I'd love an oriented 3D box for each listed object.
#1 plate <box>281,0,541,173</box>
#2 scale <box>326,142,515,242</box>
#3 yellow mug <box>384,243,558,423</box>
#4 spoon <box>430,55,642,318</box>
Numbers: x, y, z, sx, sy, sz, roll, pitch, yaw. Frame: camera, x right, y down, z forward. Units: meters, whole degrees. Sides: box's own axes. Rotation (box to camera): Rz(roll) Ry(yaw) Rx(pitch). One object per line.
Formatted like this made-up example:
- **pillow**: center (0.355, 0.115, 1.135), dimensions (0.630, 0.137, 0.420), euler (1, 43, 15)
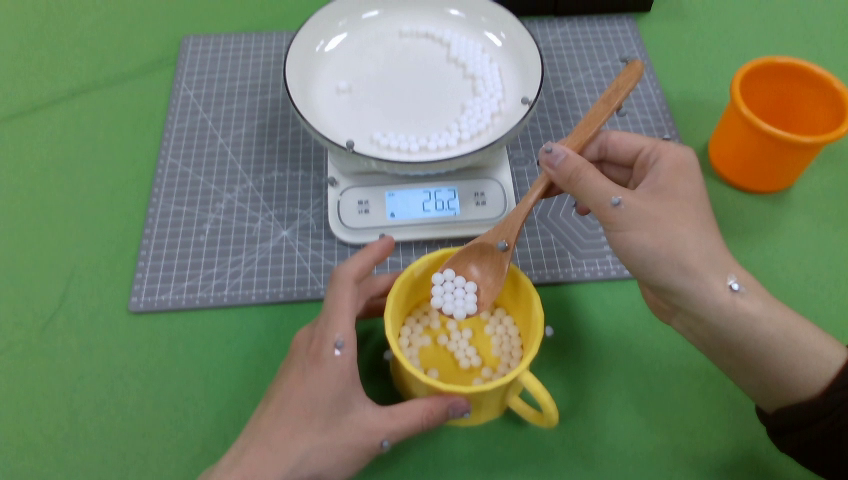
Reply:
- **plate**: center (-0.010, -0.134, 0.499), dimensions (0.209, 0.038, 0.207), euler (1, 58, -1)
- **scale**: center (-0.008, -0.092, 0.511), dimensions (0.149, 0.032, 0.199), euler (-4, 59, -2)
- **yellow mug**: center (0.036, 0.070, 0.396), dimensions (0.100, 0.064, 0.130), euler (-41, 67, -21)
- **spoon**: center (0.070, -0.033, 0.367), dimensions (0.041, 0.022, 0.194), euler (40, 97, 20)
